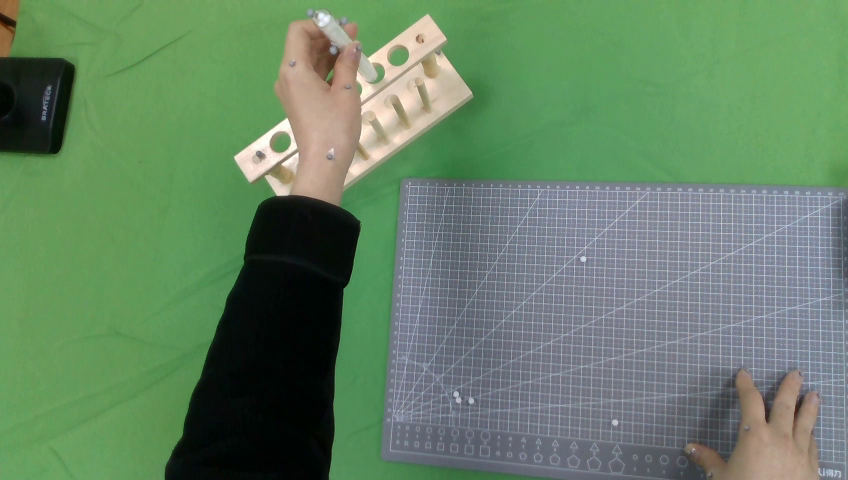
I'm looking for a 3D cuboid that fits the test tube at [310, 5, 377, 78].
[{"bbox_3d":[-0.066,-0.168,0.527,0.017,0.150,0.017,0,89,10],"label":"test tube"}]

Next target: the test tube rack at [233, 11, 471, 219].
[{"bbox_3d":[-0.071,-0.125,0.640,0.242,0.085,0.066,-35,78,4],"label":"test tube rack"}]
